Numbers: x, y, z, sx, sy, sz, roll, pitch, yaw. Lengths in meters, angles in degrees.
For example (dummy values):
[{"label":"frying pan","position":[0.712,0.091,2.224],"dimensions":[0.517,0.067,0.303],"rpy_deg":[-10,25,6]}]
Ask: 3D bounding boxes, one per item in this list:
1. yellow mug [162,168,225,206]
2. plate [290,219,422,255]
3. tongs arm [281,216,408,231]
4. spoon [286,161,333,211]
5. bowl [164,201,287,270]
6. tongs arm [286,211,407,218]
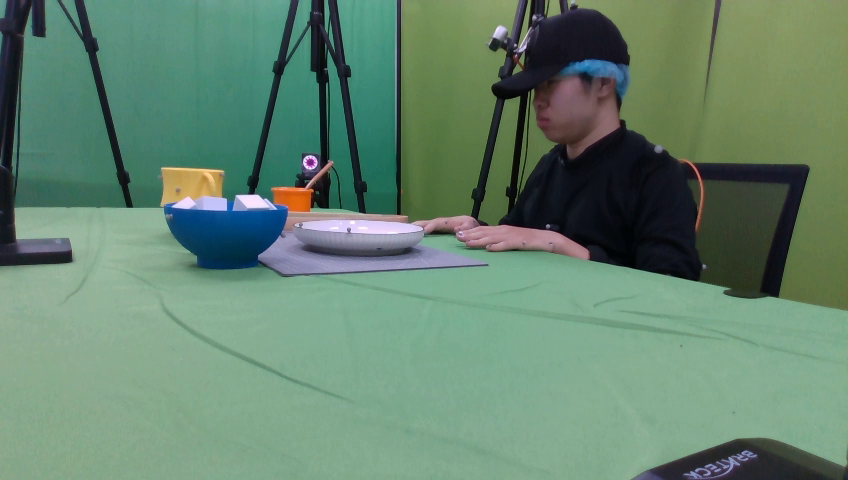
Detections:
[{"label":"yellow mug","position":[-0.383,-0.087,1.026],"dimensions":[0.130,0.064,0.100],"rpy_deg":[11,11,44]},{"label":"plate","position":[-0.108,-0.005,0.963],"dimensions":[0.208,0.039,0.207],"rpy_deg":[3,7,0]},{"label":"tongs arm","position":[-0.181,-0.033,1.200],"dimensions":[0.390,0.028,0.028],"rpy_deg":[-2,4,-39]},{"label":"spoon","position":[-0.262,-0.115,1.359],"dimensions":[0.041,0.194,0.022],"rpy_deg":[12,-33,38]},{"label":"bowl","position":[-0.254,-0.006,0.782],"dimensions":[0.151,0.077,0.151],"rpy_deg":[2,8,0]},{"label":"tongs arm","position":[-0.222,-0.045,1.271],"dimensions":[0.387,0.026,0.050],"rpy_deg":[1,6,-25]}]
